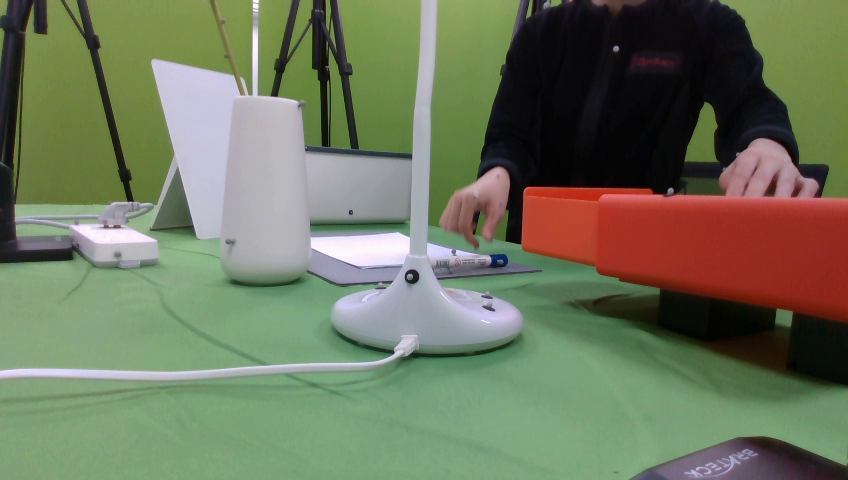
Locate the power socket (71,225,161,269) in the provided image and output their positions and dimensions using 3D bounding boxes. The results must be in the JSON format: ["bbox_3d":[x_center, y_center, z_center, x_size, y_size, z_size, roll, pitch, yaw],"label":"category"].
[{"bbox_3d":[-0.408,0.004,0.793,0.072,0.032,0.225,-2,8,-38],"label":"power socket"}]

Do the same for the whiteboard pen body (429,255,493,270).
[{"bbox_3d":[0.053,0.028,0.777,0.141,0.017,0.017,-1,8,-39],"label":"whiteboard pen body"}]

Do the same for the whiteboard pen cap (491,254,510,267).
[{"bbox_3d":[0.098,0.028,0.815,0.033,0.018,0.018,-2,9,-37],"label":"whiteboard pen cap"}]

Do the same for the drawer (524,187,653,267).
[{"bbox_3d":[0.238,-0.011,0.599,0.195,0.073,0.210,-1,8,-29],"label":"drawer"}]

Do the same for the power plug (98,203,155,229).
[{"bbox_3d":[-0.416,-0.026,0.848,0.073,0.052,0.035,1,7,-28],"label":"power plug"}]

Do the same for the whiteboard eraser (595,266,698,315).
[{"bbox_3d":[0.199,0.027,0.574,0.056,0.042,0.112,7,30,-50],"label":"whiteboard eraser"}]

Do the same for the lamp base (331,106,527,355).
[{"bbox_3d":[0.006,-0.012,0.478,0.161,0.180,0.179,2,10,2],"label":"lamp base"}]

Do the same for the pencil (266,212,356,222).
[{"bbox_3d":[-0.244,-0.049,1.319,0.195,0.012,0.012,4,7,-12],"label":"pencil"}]

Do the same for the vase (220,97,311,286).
[{"bbox_3d":[-0.172,-0.052,0.662,0.098,0.200,0.098,3,8,0],"label":"vase"}]

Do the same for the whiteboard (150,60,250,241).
[{"bbox_3d":[-0.408,-0.139,1.093,0.143,0.305,0.218,-15,-1,26],"label":"whiteboard"}]

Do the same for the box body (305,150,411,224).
[{"bbox_3d":[-0.230,-0.126,1.371,0.366,0.160,0.253,-2,8,-33],"label":"box body"}]

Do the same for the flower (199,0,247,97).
[{"bbox_3d":[-0.187,-0.133,0.648,0.038,0.362,0.044,-1,21,42],"label":"flower"}]

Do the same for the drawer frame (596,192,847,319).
[{"bbox_3d":[0.293,0.002,0.504,0.203,0.082,0.212,-1,5,-30],"label":"drawer frame"}]

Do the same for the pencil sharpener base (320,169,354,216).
[{"bbox_3d":[-0.207,-0.113,1.438,0.077,0.107,0.061,2,6,-11],"label":"pencil sharpener base"}]

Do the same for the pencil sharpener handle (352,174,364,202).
[{"bbox_3d":[-0.157,-0.125,1.450,0.031,0.068,0.036,2,19,-11],"label":"pencil sharpener handle"}]

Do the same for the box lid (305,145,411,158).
[{"bbox_3d":[-0.228,-0.200,1.362,0.373,0.015,0.262,-1,8,-33],"label":"box lid"}]
